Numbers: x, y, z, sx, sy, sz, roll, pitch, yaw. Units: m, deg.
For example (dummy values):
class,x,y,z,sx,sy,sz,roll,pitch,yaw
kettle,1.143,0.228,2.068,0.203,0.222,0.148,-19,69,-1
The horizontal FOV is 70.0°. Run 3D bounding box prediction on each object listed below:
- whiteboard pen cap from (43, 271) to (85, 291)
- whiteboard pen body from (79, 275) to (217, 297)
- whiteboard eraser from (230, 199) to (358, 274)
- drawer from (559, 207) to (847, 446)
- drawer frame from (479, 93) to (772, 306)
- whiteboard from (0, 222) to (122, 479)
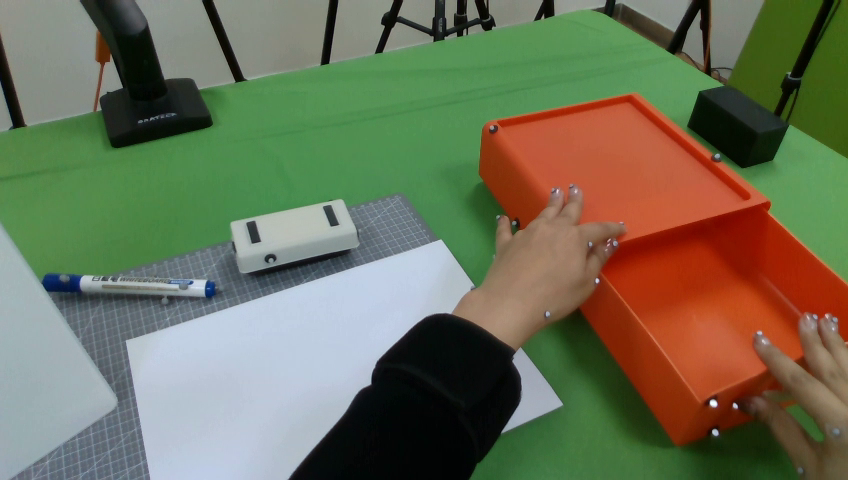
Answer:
class,x,y,z,sx,sy,sz,roll,pitch,yaw
whiteboard pen cap,-0.318,0.037,0.539,0.033,0.018,0.018,2,43,-6
whiteboard pen body,-0.259,0.041,0.543,0.141,0.017,0.017,3,43,-4
whiteboard eraser,-0.124,-0.002,0.580,0.113,0.042,0.055,-14,44,-16
drawer,0.243,0.047,0.521,0.195,0.074,0.209,-13,44,-15
drawer frame,0.190,-0.052,0.619,0.202,0.083,0.211,-15,45,-16
whiteboard,-0.386,0.038,0.380,0.142,0.308,0.217,17,42,44
